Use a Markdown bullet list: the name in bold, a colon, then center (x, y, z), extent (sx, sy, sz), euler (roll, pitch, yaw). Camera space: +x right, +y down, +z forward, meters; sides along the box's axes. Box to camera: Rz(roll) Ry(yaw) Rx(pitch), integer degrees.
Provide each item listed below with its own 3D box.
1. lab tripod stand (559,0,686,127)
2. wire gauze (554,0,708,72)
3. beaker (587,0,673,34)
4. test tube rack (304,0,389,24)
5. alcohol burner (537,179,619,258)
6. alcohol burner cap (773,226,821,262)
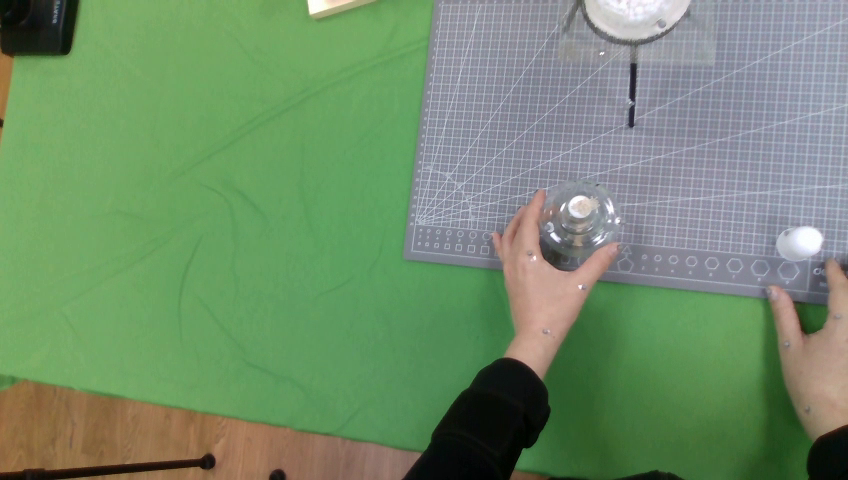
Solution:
- **lab tripod stand**: center (0.191, -0.195, 0.569), extent (0.148, 0.132, 0.148), euler (-1, 85, 13)
- **wire gauze**: center (0.174, -0.203, 0.506), extent (0.125, 0.011, 0.121), euler (5, 89, 13)
- **beaker**: center (0.157, -0.210, 0.461), extent (0.083, 0.101, 0.074), euler (19, 90, 17)
- **test tube rack**: center (-0.038, -0.322, 0.672), extent (0.242, 0.085, 0.066), euler (-12, 81, 13)
- **alcohol burner**: center (0.145, -0.023, 0.574), extent (0.078, 0.119, 0.077), euler (-2, 83, 13)
- **alcohol burner cap**: center (0.344, 0.002, 0.555), extent (0.034, 0.048, 0.034), euler (-2, 83, 15)
